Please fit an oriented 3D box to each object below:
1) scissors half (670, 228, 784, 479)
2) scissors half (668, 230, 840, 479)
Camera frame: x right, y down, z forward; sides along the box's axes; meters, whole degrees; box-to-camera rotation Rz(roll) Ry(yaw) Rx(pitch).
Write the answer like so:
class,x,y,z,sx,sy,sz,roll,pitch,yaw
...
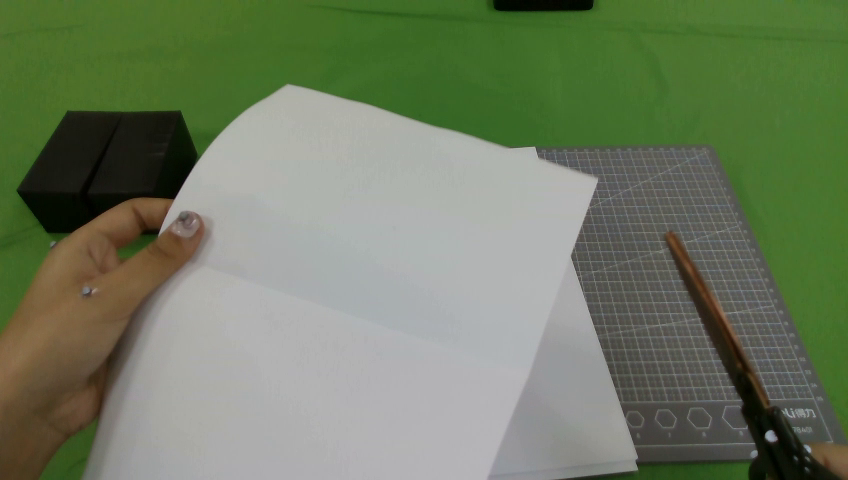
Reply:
class,x,y,z,sx,sy,sz,roll,pitch,yaw
scissors half,0.149,0.074,0.280,0.013,0.040,0.175,-24,94,-4
scissors half,0.150,0.072,0.260,0.013,0.040,0.174,-24,78,-9
